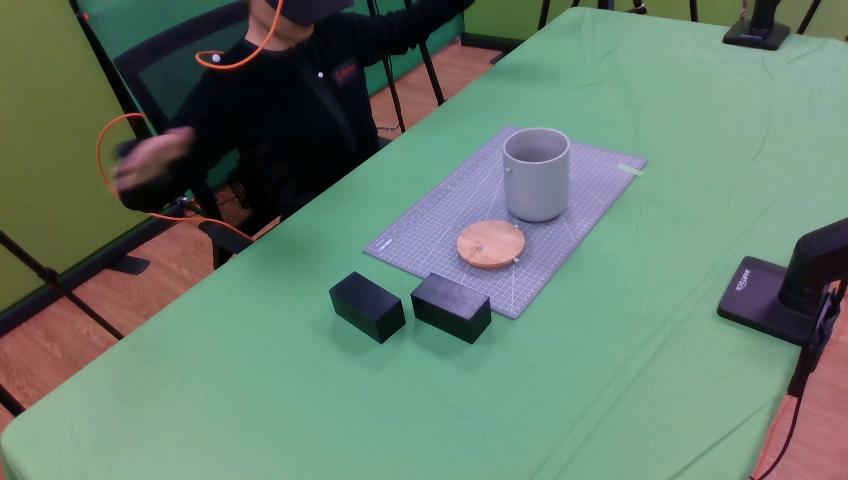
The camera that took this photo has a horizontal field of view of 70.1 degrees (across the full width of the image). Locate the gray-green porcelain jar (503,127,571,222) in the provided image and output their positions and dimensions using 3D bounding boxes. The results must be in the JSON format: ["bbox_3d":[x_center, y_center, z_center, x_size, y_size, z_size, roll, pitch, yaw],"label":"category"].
[{"bbox_3d":[0.184,-0.102,0.983,0.106,0.127,0.105,-5,40,5],"label":"gray-green porcelain jar"}]

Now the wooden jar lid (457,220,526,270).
[{"bbox_3d":[0.106,0.009,0.950,0.108,0.021,0.108,-4,40,4],"label":"wooden jar lid"}]
